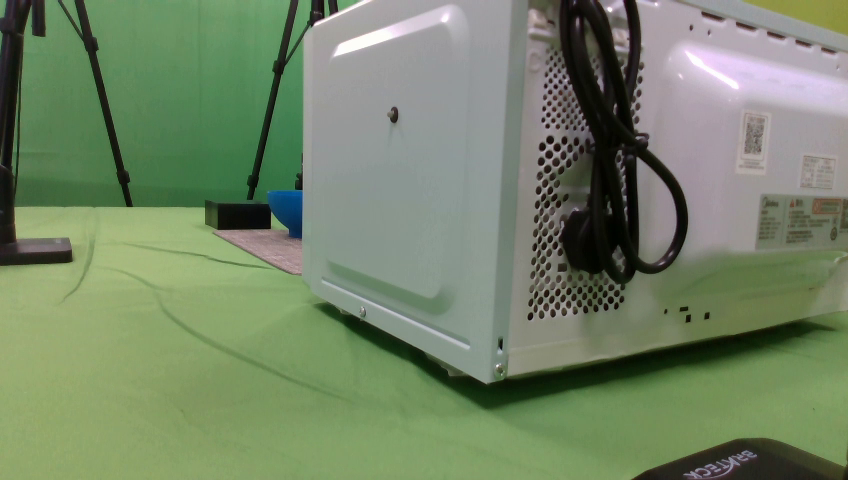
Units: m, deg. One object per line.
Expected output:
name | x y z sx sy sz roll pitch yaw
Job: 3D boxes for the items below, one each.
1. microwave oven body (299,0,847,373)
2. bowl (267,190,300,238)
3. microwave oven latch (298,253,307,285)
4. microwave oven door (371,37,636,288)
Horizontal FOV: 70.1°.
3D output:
microwave oven body | 0.151 -0.055 0.543 0.444 0.260 0.324 -2 7 -33
bowl | -0.202 -0.046 1.069 0.151 0.077 0.151 3 7 0
microwave oven latch | -0.081 0.027 0.583 0.079 0.029 0.030 -1 7 -32
microwave oven door | 0.109 -0.080 0.687 0.358 0.243 0.039 -2 9 -33
